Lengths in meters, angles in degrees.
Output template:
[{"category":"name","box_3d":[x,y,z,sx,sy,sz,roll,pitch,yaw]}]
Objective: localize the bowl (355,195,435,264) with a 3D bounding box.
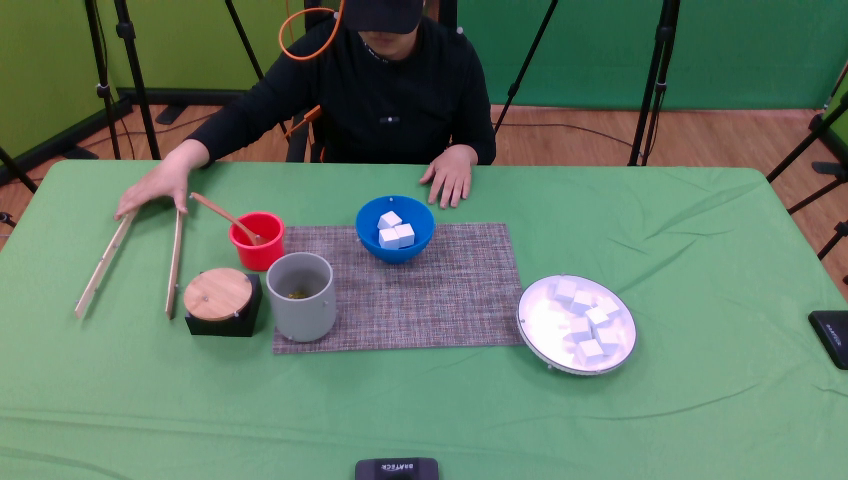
[{"category":"bowl","box_3d":[-0.056,-0.008,1.158,0.151,0.077,0.150,2,46,-2]}]

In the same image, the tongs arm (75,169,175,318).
[{"category":"tongs arm","box_3d":[-0.559,-0.008,1.155,0.051,0.026,0.382,3,45,-2]}]

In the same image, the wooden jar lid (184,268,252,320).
[{"category":"wooden jar lid","box_3d":[-0.343,0.092,1.015,0.108,0.021,0.107,3,46,-3]}]

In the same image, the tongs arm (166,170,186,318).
[{"category":"tongs arm","box_3d":[-0.479,-0.007,1.165,0.028,0.028,0.385,-9,47,-8]}]

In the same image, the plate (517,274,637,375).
[{"category":"plate","box_3d":[0.264,0.149,1.060,0.209,0.038,0.208,3,46,-3]}]

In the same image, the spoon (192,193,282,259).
[{"category":"spoon","box_3d":[-0.342,-0.027,1.115,0.194,0.021,0.041,43,41,-24]}]

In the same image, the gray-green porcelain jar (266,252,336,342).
[{"category":"gray-green porcelain jar","box_3d":[-0.202,0.100,1.009,0.106,0.127,0.105,2,46,-2]}]
